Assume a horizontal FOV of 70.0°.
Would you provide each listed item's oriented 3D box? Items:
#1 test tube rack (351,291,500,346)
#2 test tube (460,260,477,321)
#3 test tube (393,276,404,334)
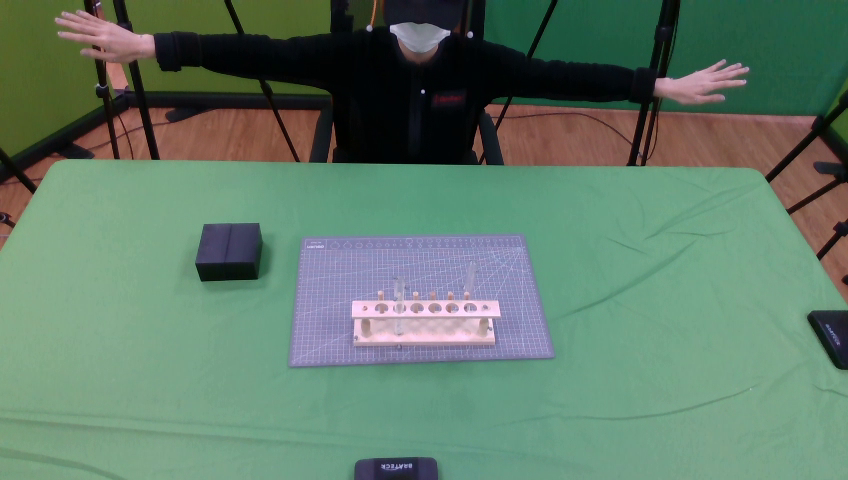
[{"bbox_3d":[0.001,0.129,1.026,0.242,0.085,0.066,0,46,-4],"label":"test tube rack"},{"bbox_3d":[0.073,0.086,1.011,0.017,0.151,0.017,2,46,-2],"label":"test tube"},{"bbox_3d":[-0.041,0.108,0.973,0.017,0.151,0.017,2,50,-2],"label":"test tube"}]
